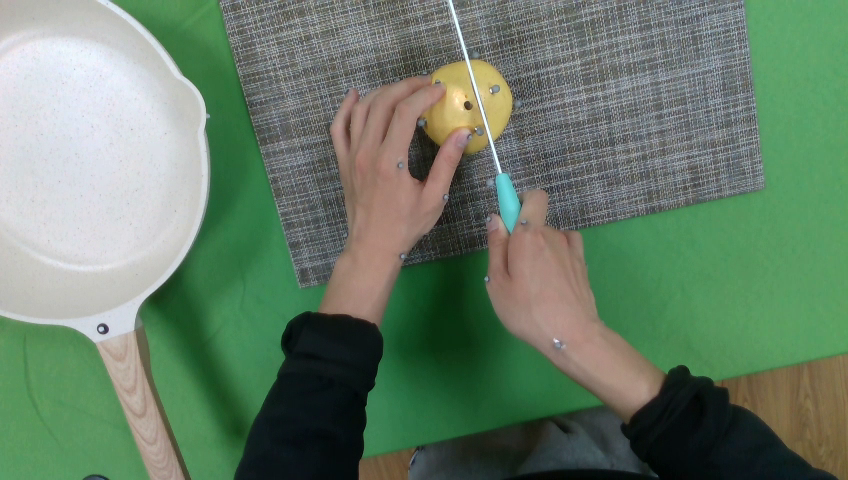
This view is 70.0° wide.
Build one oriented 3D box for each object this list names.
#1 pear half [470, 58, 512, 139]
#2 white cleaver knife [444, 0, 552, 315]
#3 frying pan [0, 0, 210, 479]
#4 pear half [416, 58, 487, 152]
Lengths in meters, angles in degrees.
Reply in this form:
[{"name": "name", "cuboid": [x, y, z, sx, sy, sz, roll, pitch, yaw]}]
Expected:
[{"name": "pear half", "cuboid": [0.057, -0.122, 0.508, 0.031, 0.088, 0.070, -23, 96, 4]}, {"name": "white cleaver knife", "cuboid": [0.059, -0.070, 0.490, 0.021, 0.065, 0.288, -16, 104, 8]}, {"name": "frying pan", "cuboid": [-0.294, 0.026, 0.540, 0.307, 0.102, 0.488, -17, 93, 5]}, {"name": "pear half", "cuboid": [0.021, -0.108, 0.500, 0.056, 0.109, 0.076, -22, 96, 7]}]
